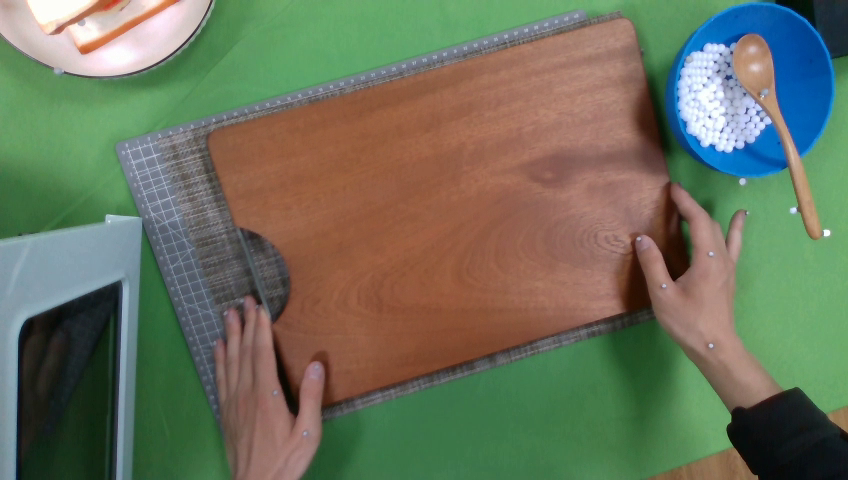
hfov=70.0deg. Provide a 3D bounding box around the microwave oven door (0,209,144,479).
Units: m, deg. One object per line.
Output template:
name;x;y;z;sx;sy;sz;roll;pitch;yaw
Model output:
microwave oven door;-0.268;0.163;0.443;0.039;0.243;0.356;4;97;-6

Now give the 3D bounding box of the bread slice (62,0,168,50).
bread slice;-0.286;-0.243;0.509;0.105;0.019;0.132;-32;100;-3

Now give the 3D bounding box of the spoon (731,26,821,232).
spoon;0.316;-0.100;0.538;0.042;0.022;0.193;-12;78;-12

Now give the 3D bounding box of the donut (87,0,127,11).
donut;-0.272;-0.234;0.482;0.099;0.048;0.099;-2;100;-14

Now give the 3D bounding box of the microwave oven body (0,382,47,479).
microwave oven body;-0.489;0.178;0.426;0.326;0.259;0.443;-19;99;-4

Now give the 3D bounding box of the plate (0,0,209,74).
plate;-0.278;-0.244;0.509;0.208;0.039;0.208;-1;98;-6

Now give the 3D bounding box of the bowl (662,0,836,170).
bowl;0.283;-0.140;0.561;0.151;0.076;0.151;-1;98;-5

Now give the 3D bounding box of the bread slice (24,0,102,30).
bread slice;-0.275;-0.237;0.452;0.107;0.018;0.134;-34;94;1
